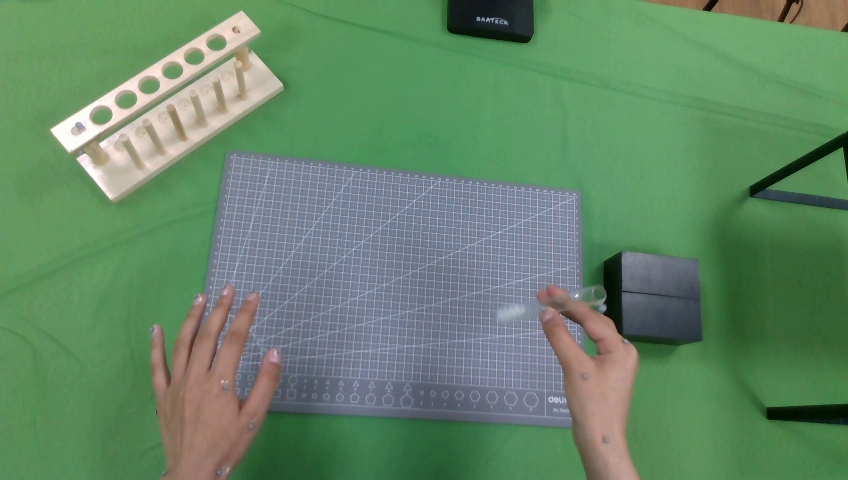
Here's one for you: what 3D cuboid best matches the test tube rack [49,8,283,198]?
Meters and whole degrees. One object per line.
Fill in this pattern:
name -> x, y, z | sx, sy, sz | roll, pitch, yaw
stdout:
test tube rack -> -0.281, -0.156, 0.691 | 0.242, 0.085, 0.066 | -40, 84, -18

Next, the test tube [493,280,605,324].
test tube -> 0.110, 0.060, 0.561 | 0.017, 0.150, 0.017 | 9, 70, -26
